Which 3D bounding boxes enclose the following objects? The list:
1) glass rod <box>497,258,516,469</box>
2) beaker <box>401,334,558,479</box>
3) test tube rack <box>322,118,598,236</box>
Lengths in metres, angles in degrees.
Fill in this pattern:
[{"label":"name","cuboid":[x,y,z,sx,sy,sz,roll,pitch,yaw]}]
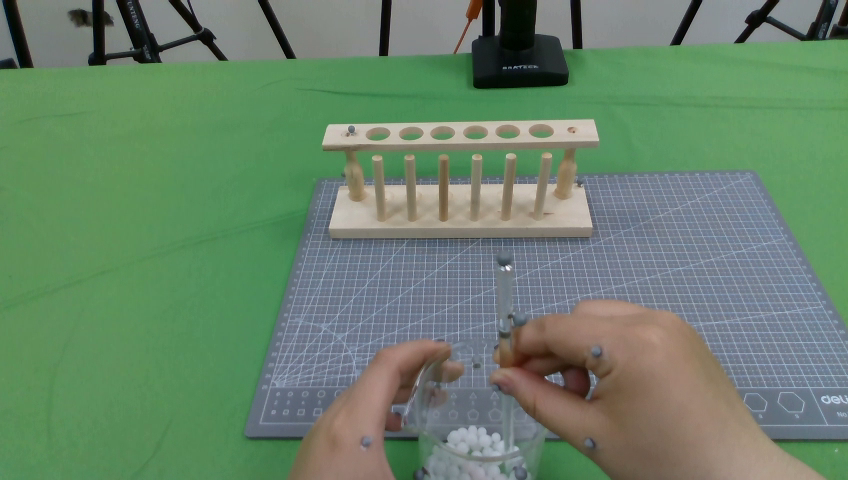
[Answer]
[{"label":"glass rod","cuboid":[0.044,0.076,0.312,0.008,0.202,0.008,-4,47,5]},{"label":"beaker","cuboid":[0.029,0.116,0.349,0.084,0.101,0.073,-13,44,-13]},{"label":"test tube rack","cuboid":[0.032,-0.057,0.557,0.242,0.086,0.066,0,44,4]}]
